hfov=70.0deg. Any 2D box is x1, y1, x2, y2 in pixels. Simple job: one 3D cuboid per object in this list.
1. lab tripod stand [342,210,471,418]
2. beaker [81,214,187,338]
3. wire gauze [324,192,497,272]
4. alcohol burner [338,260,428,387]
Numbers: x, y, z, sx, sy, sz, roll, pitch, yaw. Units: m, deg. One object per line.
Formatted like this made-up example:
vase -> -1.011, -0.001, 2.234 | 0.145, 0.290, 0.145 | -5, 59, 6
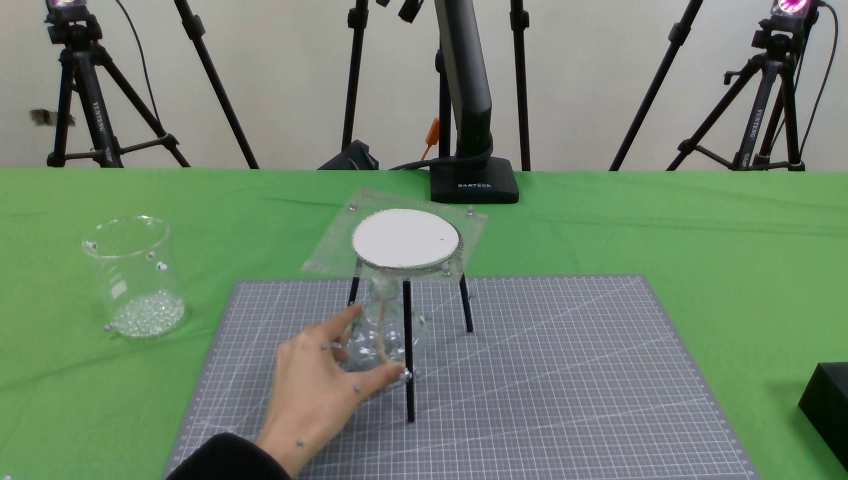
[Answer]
lab tripod stand -> -0.013, 0.054, 0.522 | 0.148, 0.132, 0.147 | 2, 34, -1
beaker -> -0.271, 0.035, 0.580 | 0.074, 0.101, 0.083 | 7, 33, 7
wire gauze -> -0.011, -0.013, 0.471 | 0.125, 0.011, 0.120 | 5, 27, -8
alcohol burner -> -0.034, 0.067, 0.518 | 0.078, 0.120, 0.077 | 4, 31, -2
